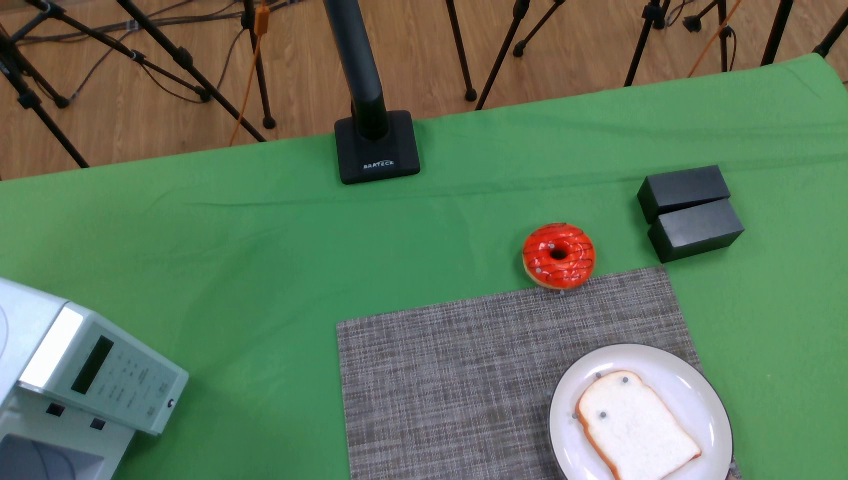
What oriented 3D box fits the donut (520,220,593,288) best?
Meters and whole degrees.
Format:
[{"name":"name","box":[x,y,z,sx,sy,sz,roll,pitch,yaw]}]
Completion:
[{"name":"donut","box":[0.178,0.019,0.813,0.099,0.048,0.098,-3,62,5]}]

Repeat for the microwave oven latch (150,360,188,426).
[{"name":"microwave oven latch","box":[-0.318,0.183,0.737,0.030,0.030,0.079,18,67,10]}]

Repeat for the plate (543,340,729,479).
[{"name":"plate","box":[0.243,0.222,0.711,0.207,0.039,0.206,-1,63,3]}]

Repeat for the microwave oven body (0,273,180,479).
[{"name":"microwave oven body","box":[-0.519,0.252,0.604,0.325,0.262,0.439,16,67,9]}]

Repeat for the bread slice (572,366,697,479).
[{"name":"bread slice","box":[0.240,0.217,0.716,0.105,0.019,0.130,-29,66,-12]}]
